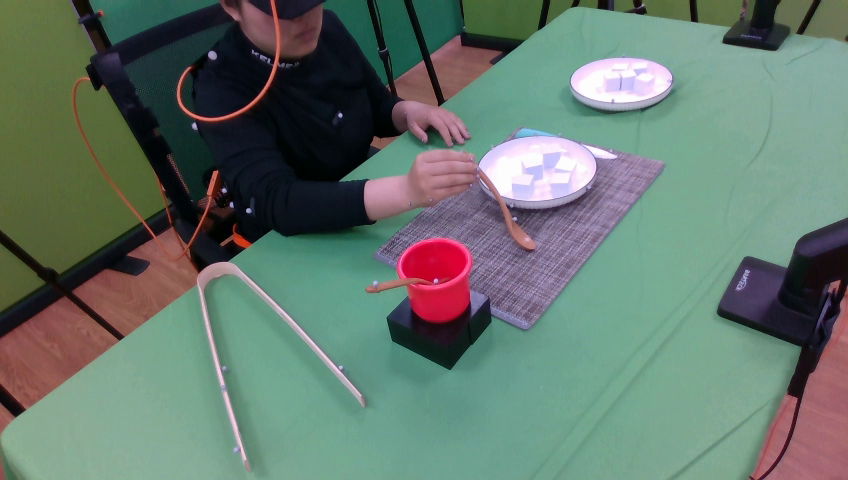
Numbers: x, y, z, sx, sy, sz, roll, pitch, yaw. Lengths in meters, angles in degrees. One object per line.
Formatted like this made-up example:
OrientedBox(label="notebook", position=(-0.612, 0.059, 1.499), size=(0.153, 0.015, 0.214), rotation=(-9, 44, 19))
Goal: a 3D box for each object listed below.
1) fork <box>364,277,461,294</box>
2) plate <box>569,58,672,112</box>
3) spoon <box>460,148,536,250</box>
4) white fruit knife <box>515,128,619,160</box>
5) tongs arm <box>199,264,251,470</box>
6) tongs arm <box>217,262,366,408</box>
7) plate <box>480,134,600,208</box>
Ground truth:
OrientedBox(label="fork", position=(-0.009, 0.056, 0.744), size=(0.028, 0.018, 0.209), rotation=(26, 9, 28))
OrientedBox(label="plate", position=(0.411, -0.323, 1.274), size=(0.209, 0.038, 0.208), rotation=(-5, 41, 5))
OrientedBox(label="spoon", position=(0.114, -0.062, 0.926), size=(0.021, 0.194, 0.041), rotation=(-26, 14, 30))
OrientedBox(label="white fruit knife", position=(0.269, -0.182, 1.148), size=(0.206, 0.016, 0.027), rotation=(21, 77, 29))
OrientedBox(label="tongs arm", position=(-0.270, 0.154, 0.841), size=(0.051, 0.026, 0.381), rotation=(-23, 40, -17))
OrientedBox(label="tongs arm", position=(-0.201, 0.123, 0.871), size=(0.028, 0.028, 0.384), rotation=(-36, 46, -24))
OrientedBox(label="plate", position=(0.202, -0.117, 1.065), size=(0.207, 0.039, 0.206), rotation=(-5, 40, 5))
